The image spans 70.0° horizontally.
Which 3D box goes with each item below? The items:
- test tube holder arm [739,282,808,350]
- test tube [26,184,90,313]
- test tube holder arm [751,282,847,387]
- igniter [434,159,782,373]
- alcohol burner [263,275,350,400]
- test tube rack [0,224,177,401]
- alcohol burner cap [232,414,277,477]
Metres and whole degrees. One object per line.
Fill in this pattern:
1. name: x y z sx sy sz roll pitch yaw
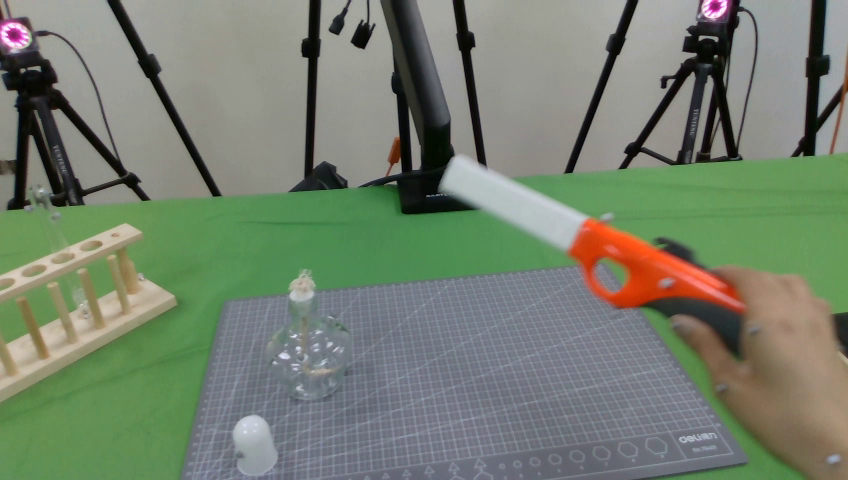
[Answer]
1. test tube holder arm: 0.321 0.068 0.555 0.010 0.015 0.087 1 30 -14
2. test tube: -0.361 0.012 0.605 0.017 0.151 0.017 0 33 0
3. test tube holder arm: 0.335 0.091 0.519 0.013 0.015 0.176 1 30 -14
4. igniter: 0.116 0.006 0.432 0.274 0.057 0.025 31 14 32
5. alcohol burner: -0.106 0.083 0.541 0.078 0.120 0.077 -1 29 1
6. test tube rack: -0.377 0.077 0.594 0.066 0.086 0.242 21 37 32
7. alcohol burner cap: -0.138 0.161 0.483 0.034 0.048 0.033 0 31 1
